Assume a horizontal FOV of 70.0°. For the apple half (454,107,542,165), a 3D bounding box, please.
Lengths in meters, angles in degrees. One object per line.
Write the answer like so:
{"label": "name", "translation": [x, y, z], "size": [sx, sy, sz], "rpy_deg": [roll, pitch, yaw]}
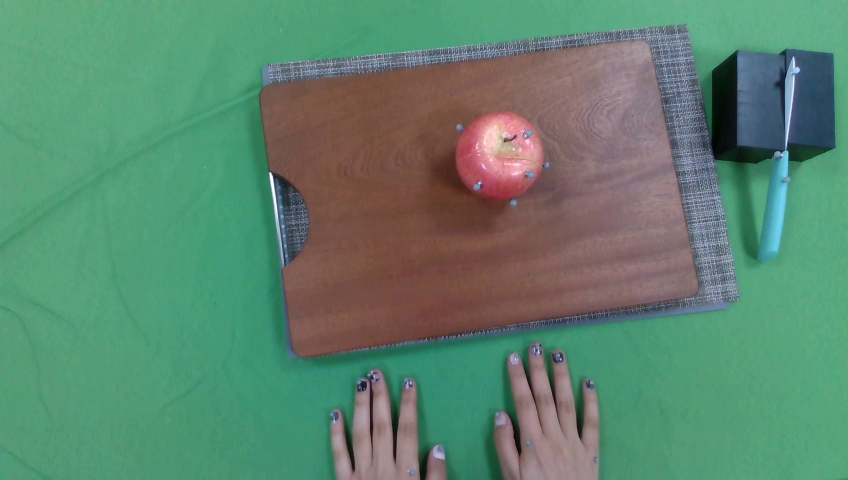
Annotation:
{"label": "apple half", "translation": [0.069, -0.095, 0.566], "size": [0.081, 0.075, 0.053], "rpy_deg": [5, 79, 1]}

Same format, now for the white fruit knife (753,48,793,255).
{"label": "white fruit knife", "translation": [0.354, -0.086, 0.609], "size": [0.016, 0.027, 0.207], "rpy_deg": [2, 97, -4]}

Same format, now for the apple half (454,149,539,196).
{"label": "apple half", "translation": [0.065, -0.056, 0.560], "size": [0.081, 0.081, 0.032], "rpy_deg": [5, 78, -3]}
